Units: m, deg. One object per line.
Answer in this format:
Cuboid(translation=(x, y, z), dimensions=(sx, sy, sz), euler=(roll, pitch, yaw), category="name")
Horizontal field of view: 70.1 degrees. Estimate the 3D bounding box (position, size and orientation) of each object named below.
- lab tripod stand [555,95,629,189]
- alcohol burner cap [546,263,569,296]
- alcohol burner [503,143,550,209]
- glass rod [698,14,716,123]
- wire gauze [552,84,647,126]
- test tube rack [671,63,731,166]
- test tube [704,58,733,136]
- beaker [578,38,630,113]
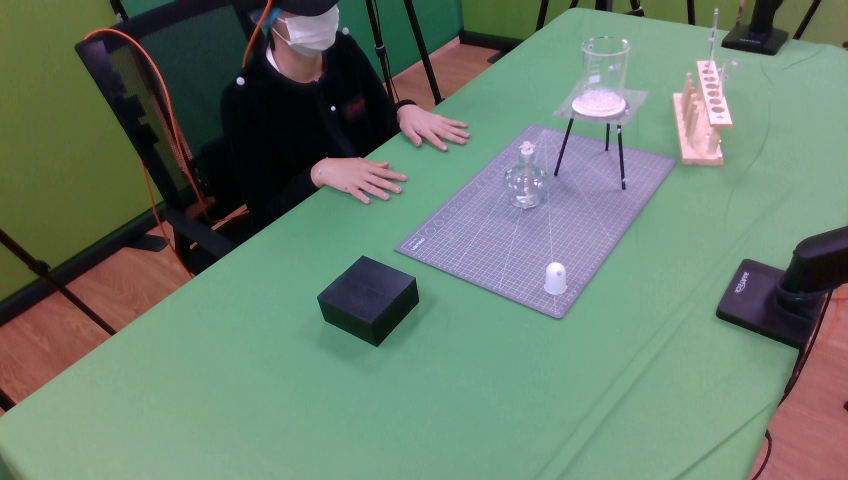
Cuboid(translation=(0.300, -0.174, 1.045), dimensions=(0.148, 0.132, 0.147), euler=(-5, 38, 5), category="lab tripod stand")
Cuboid(translation=(0.191, 0.053, 0.862), dimensions=(0.034, 0.048, 0.033), euler=(-5, 40, 4), category="alcohol burner cap")
Cuboid(translation=(0.171, -0.111, 1.007), dimensions=(0.078, 0.119, 0.077), euler=(-3, 41, 3), category="alcohol burner")
Cuboid(translation=(0.531, -0.320, 1.136), dimensions=(0.008, 0.200, 0.008), euler=(3, 12, 0), category="glass rod")
Cuboid(translation=(0.293, -0.224, 1.004), dimensions=(0.120, 0.011, 0.125), euler=(19, 43, 26), category="wire gauze")
Cuboid(translation=(0.513, -0.241, 1.132), dimensions=(0.066, 0.085, 0.242), euler=(4, 41, 14), category="test tube rack")
Cuboid(translation=(0.516, -0.247, 1.062), dimensions=(0.017, 0.151, 0.017), euler=(-3, 43, 4), category="test tube")
Cuboid(translation=(0.290, -0.265, 0.976), dimensions=(0.084, 0.101, 0.073), euler=(-18, 41, -14), category="beaker")
